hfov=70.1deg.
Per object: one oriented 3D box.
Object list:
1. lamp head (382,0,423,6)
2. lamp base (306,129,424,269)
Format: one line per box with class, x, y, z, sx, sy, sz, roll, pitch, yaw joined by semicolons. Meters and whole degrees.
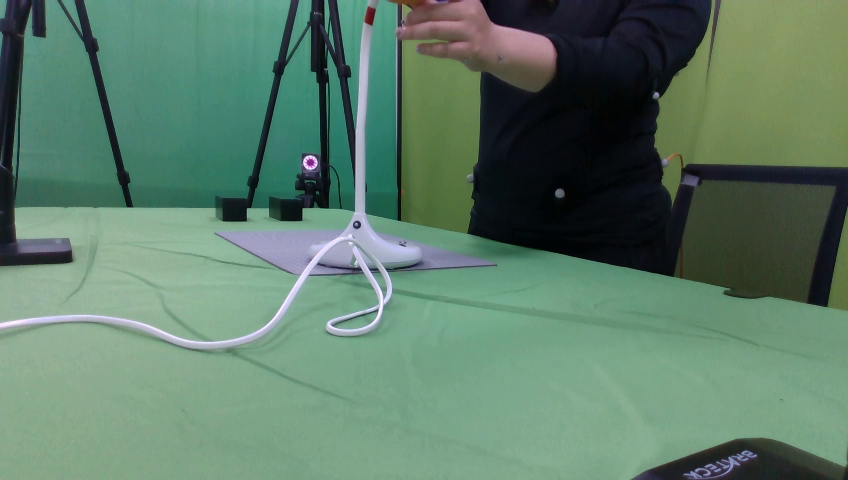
lamp head;-0.027;-0.326;0.672;0.112;0.123;0.112;4;3;0
lamp base;-0.078;-0.057;0.810;0.161;0.180;0.179;1;10;-4
